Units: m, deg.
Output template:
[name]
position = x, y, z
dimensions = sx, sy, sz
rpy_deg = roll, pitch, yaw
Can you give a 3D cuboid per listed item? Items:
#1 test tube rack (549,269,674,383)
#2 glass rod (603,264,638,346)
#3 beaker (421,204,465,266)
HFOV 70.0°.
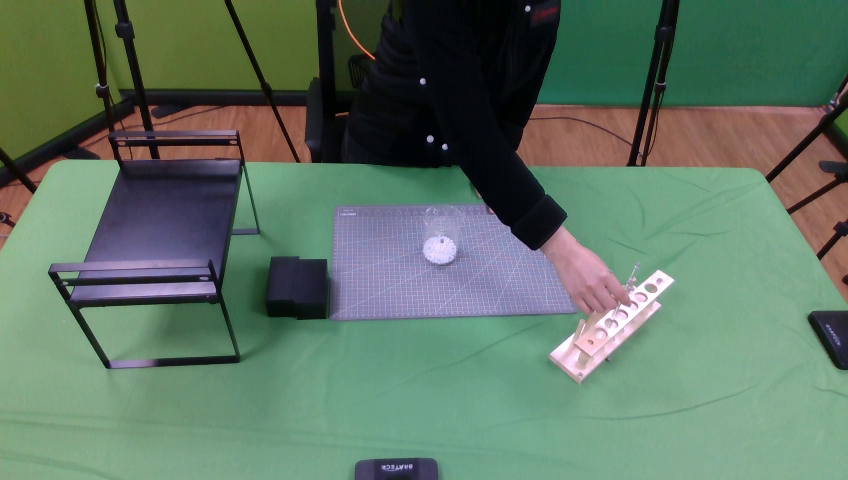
[test tube rack]
position = 0.326, 0.135, 1.047
dimensions = 0.242, 0.085, 0.066
rpy_deg = -32, 55, -30
[glass rod]
position = 0.311, 0.109, 0.969
dimensions = 0.008, 0.200, 0.008
rpy_deg = 2, 44, -2
[beaker]
position = 0.034, -0.007, 1.150
dimensions = 0.084, 0.101, 0.073
rpy_deg = -9, 48, -13
